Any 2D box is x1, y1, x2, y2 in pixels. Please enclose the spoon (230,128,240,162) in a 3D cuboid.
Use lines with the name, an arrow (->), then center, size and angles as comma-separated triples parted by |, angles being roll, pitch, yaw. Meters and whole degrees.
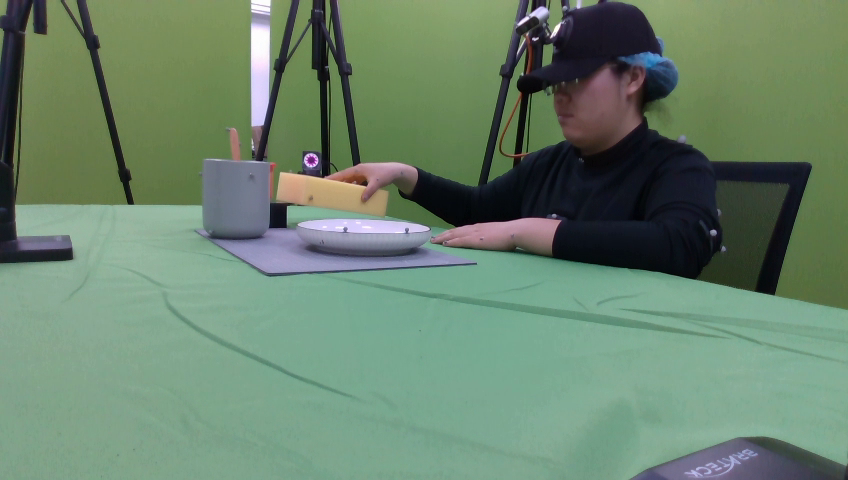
spoon -> -0.314, -0.109, 1.025 | 0.042, 0.193, 0.021 | -5, -19, -16

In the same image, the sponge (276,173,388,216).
sponge -> -0.194, -0.097, 1.293 | 0.208, 0.061, 0.117 | 6, 4, -41

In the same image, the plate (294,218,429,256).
plate -> -0.096, -0.005, 0.936 | 0.208, 0.039, 0.207 | 3, 7, 0

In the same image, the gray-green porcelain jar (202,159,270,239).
gray-green porcelain jar -> -0.310, -0.068, 0.999 | 0.106, 0.126, 0.106 | 3, 8, 0
